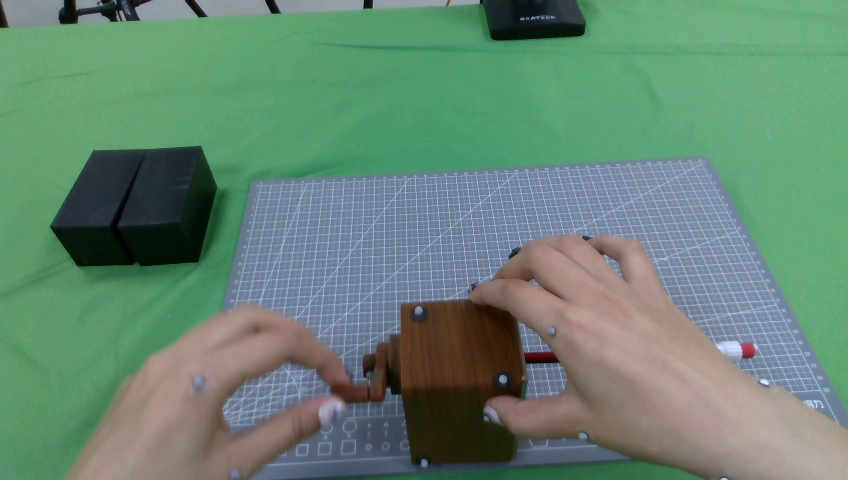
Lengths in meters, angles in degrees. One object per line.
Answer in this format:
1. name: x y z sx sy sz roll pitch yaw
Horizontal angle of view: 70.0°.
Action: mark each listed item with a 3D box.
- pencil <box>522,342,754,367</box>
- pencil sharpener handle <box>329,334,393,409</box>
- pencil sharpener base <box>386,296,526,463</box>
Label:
1. pencil: 0.099 0.070 0.361 0.194 0.012 0.012 -2 47 0
2. pencil sharpener handle: -0.034 0.077 0.344 0.030 0.036 0.067 -3 9 1
3. pencil sharpener base: 0.018 0.091 0.380 0.077 0.108 0.060 -3 48 0
